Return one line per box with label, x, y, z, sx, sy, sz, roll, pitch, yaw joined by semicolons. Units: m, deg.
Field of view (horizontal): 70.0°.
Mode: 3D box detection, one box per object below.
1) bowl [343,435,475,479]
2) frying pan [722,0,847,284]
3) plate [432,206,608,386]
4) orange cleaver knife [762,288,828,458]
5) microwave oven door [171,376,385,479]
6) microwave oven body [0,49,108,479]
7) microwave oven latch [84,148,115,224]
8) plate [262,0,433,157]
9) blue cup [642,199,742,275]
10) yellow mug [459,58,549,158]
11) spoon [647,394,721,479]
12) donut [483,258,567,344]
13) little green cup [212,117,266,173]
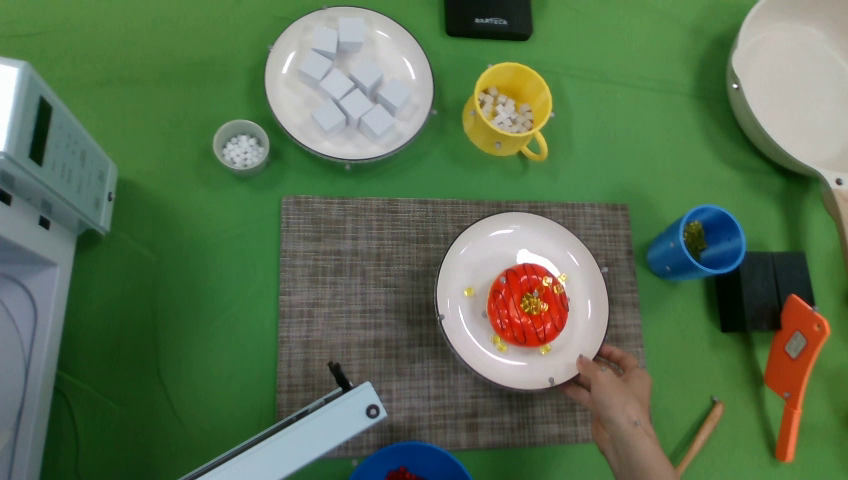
bowl;-0.022;0.282;0.643;0.152;0.077;0.150;2;78;-10
frying pan;0.551;-0.131;0.828;0.307;0.103;0.484;5;69;-8
plate;0.108;0.064;0.699;0.210;0.038;0.208;3;75;-11
orange cleaver knife;0.452;0.167;0.755;0.012;0.076;0.212;-1;106;-10
microwave oven door;-0.204;0.221;0.519;0.356;0.244;0.039;-28;83;-15
microwave oven body;-0.489;0.082;0.501;0.327;0.260;0.439;3;78;-10
microwave oven latch;-0.356;-0.059;0.657;0.030;0.029;0.079;5;78;-10
plate;-0.093;-0.198;0.757;0.208;0.039;0.206;2;77;-10
blue cup;0.326;0.004;0.758;0.093;0.100;0.092;3;75;-11
yellow mug;0.111;-0.159;0.773;0.100;0.064;0.130;-37;87;-16
spoon;0.314;0.263;0.739;0.041;0.022;0.193;41;73;12
donut;0.114;0.069;0.687;0.099;0.048;0.098;3;77;-11
little green cup;-0.215;-0.109;0.713;0.062;0.038;0.061;3;78;-11
